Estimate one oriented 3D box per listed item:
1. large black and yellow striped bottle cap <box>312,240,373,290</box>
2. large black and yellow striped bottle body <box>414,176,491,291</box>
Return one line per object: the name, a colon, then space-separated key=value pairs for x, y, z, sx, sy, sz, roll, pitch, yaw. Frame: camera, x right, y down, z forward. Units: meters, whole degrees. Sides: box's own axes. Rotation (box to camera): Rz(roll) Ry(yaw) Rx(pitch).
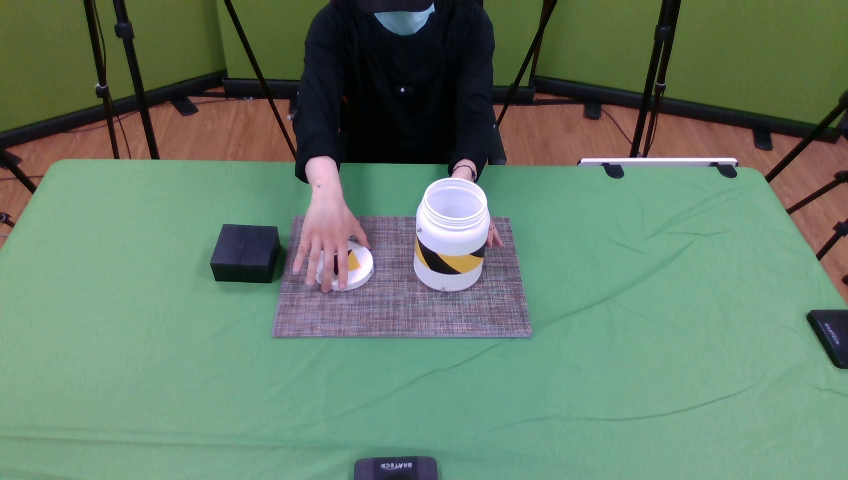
large black and yellow striped bottle cap: x=-0.153 y=0.045 z=1.140 sx=0.115 sy=0.019 sz=0.114 roll=3 pitch=47 yaw=-3
large black and yellow striped bottle body: x=0.049 y=-0.011 z=1.091 sx=0.131 sy=0.185 sz=0.130 roll=2 pitch=46 yaw=-2
